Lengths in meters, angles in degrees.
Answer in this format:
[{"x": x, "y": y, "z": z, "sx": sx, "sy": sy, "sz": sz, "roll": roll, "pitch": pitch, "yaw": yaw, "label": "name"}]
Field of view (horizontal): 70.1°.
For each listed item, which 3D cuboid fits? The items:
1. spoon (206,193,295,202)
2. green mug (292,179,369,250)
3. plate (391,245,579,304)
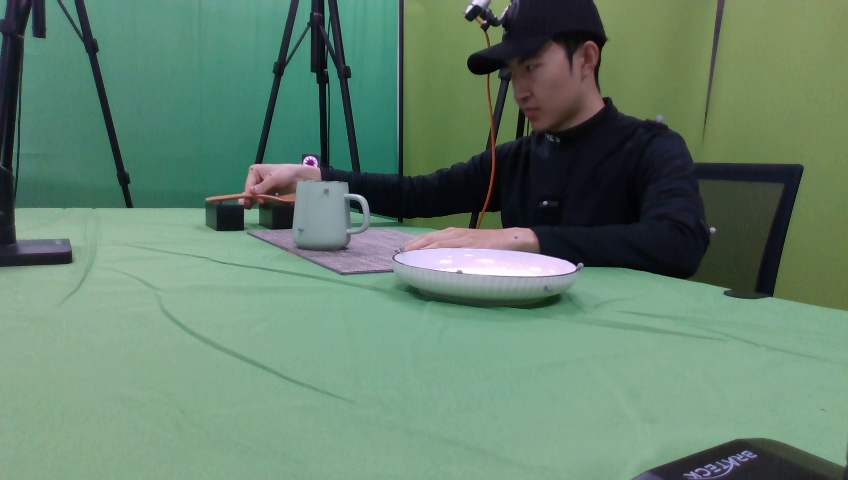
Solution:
[{"x": -0.335, "y": -0.087, "z": 1.214, "sx": 0.195, "sy": 0.021, "sz": 0.041, "roll": -2, "pitch": 20, "yaw": -28, "label": "spoon"}, {"x": -0.144, "y": -0.040, "z": 0.944, "sx": 0.125, "sy": 0.105, "sz": 0.093, "roll": 4, "pitch": 7, "yaw": 16, "label": "green mug"}, {"x": 0.066, "y": 0.038, "z": 0.683, "sx": 0.209, "sy": 0.038, "sz": 0.209, "roll": 2, "pitch": 7, "yaw": 0, "label": "plate"}]
